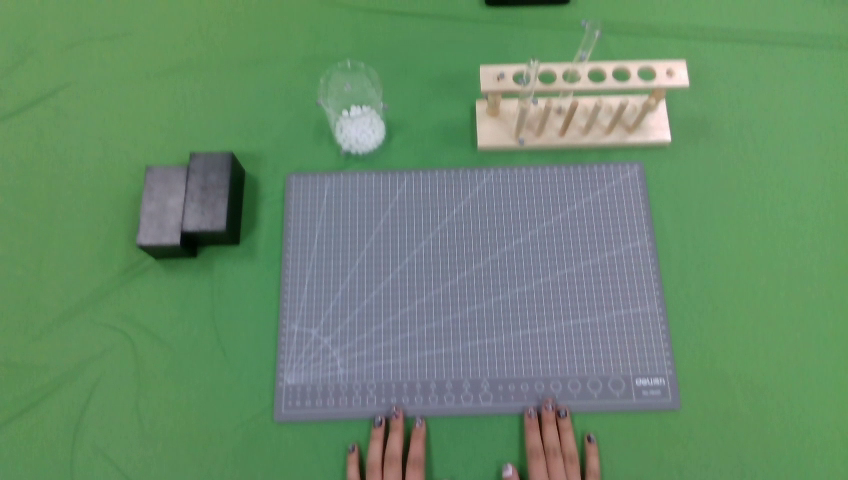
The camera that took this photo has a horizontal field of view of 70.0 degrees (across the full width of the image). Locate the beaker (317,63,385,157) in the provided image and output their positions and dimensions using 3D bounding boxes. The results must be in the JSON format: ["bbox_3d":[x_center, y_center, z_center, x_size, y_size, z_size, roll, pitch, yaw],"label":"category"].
[{"bbox_3d":[-0.086,-0.155,0.742,0.074,0.101,0.083,-5,70,-1],"label":"beaker"}]

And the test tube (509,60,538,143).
[{"bbox_3d":[0.114,-0.156,0.700,0.017,0.151,0.017,0,68,1],"label":"test tube"}]

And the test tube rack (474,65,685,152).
[{"bbox_3d":[0.186,-0.160,0.748,0.242,0.086,0.066,-1,71,0],"label":"test tube rack"}]

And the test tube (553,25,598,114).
[{"bbox_3d":[0.174,-0.193,0.707,0.017,0.151,0.017,1,68,-2],"label":"test tube"}]
